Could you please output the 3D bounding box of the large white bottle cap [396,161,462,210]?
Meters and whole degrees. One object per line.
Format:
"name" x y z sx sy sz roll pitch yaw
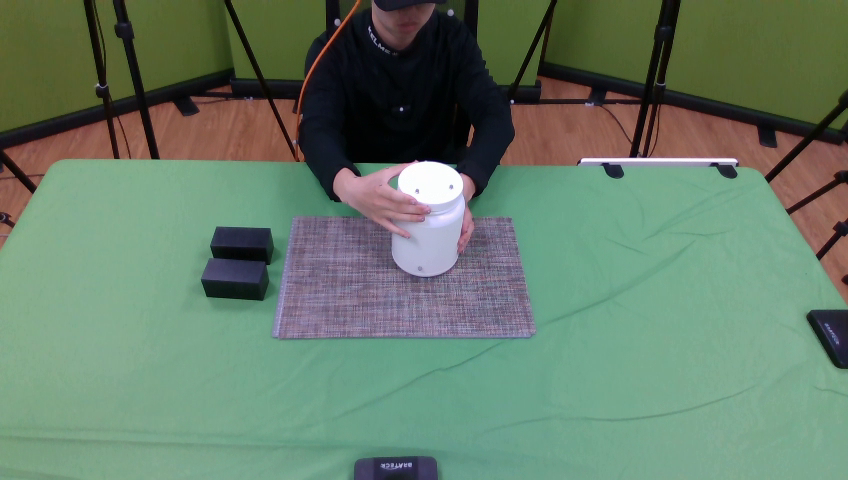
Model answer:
"large white bottle cap" 0.009 -0.096 1.052 0.115 0.018 0.114 3 45 -3

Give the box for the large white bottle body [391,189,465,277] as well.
"large white bottle body" 0.005 -0.036 1.115 0.131 0.185 0.130 2 46 -2
